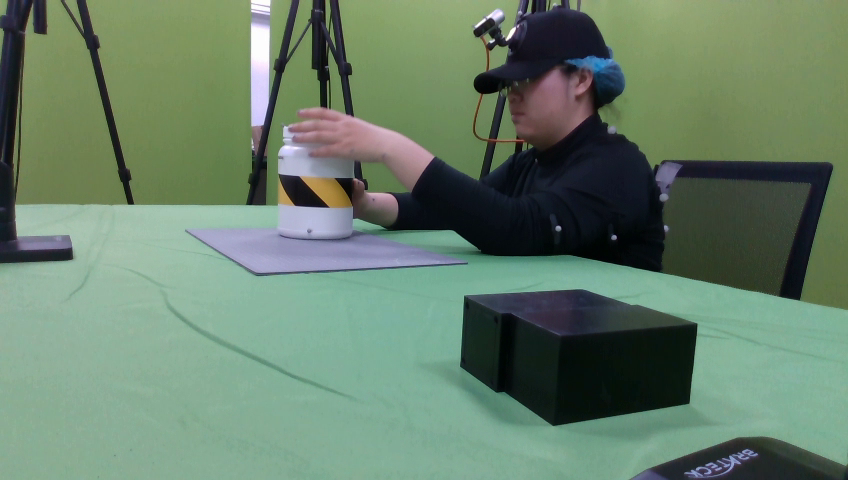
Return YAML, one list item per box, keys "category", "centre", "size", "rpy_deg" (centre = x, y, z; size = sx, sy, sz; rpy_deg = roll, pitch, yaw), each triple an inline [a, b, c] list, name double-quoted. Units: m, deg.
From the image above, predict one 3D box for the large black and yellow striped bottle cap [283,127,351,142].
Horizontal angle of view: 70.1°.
- category: "large black and yellow striped bottle cap"
  centre: [-0.184, -0.182, 1.043]
  size: [0.115, 0.019, 0.115]
  rpy_deg: [3, 9, 0]

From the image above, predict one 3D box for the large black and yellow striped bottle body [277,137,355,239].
- category: "large black and yellow striped bottle body"
  centre: [-0.188, -0.098, 1.053]
  size: [0.131, 0.184, 0.130]
  rpy_deg: [3, 7, 0]
